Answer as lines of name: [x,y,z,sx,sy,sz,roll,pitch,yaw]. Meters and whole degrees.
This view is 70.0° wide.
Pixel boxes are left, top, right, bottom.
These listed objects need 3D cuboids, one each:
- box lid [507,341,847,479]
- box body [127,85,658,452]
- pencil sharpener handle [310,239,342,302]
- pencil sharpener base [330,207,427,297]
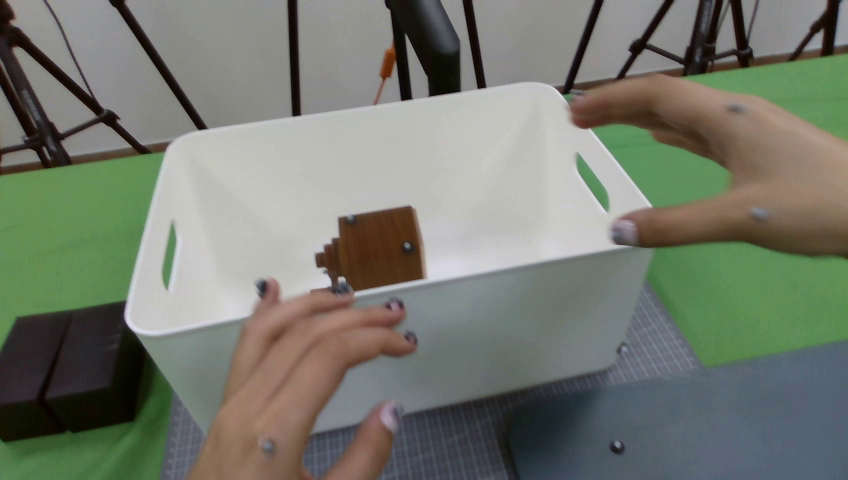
box lid: [0.260,0.193,0.413,0.372,0.015,0.260,-9,41,-6]
box body: [-0.026,0.013,0.532,0.364,0.162,0.251,-10,41,-7]
pencil sharpener handle: [-0.089,0.031,0.530,0.031,0.068,0.035,-9,44,-4]
pencil sharpener base: [-0.038,0.032,0.542,0.077,0.108,0.060,-9,42,-4]
